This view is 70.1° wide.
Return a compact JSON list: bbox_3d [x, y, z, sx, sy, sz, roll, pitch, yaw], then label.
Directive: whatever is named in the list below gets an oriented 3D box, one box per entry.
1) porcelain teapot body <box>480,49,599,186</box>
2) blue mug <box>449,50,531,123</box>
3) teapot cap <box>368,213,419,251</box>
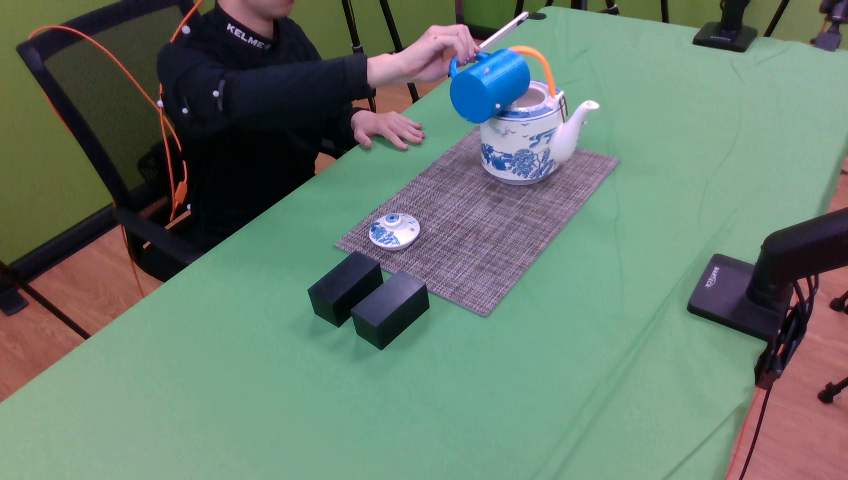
[{"bbox_3d":[0.193,-0.208,1.023,0.204,0.226,0.145,16,46,25],"label":"porcelain teapot body"},{"bbox_3d":[0.092,-0.252,0.946,0.116,0.082,0.106,46,55,8],"label":"blue mug"},{"bbox_3d":[-0.050,-0.019,0.975,0.085,0.044,0.084,-4,43,4],"label":"teapot cap"}]
